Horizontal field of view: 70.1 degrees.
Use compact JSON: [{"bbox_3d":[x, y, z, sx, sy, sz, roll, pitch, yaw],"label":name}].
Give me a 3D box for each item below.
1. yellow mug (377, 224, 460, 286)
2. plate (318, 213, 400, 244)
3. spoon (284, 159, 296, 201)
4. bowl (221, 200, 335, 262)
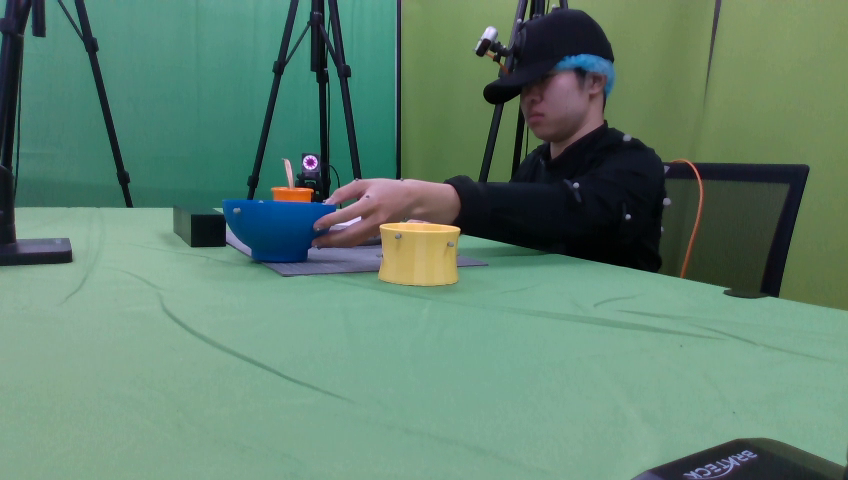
[{"bbox_3d":[-0.001,0.015,0.754,0.099,0.064,0.131,4,6,21],"label":"yellow mug"},{"bbox_3d":[-0.147,-0.020,1.060,0.209,0.038,0.209,3,7,0],"label":"plate"},{"bbox_3d":[-0.302,-0.118,1.370,0.042,0.193,0.021,4,-39,-24],"label":"spoon"},{"bbox_3d":[-0.197,-0.013,0.822,0.151,0.077,0.151,3,5,0],"label":"bowl"}]
